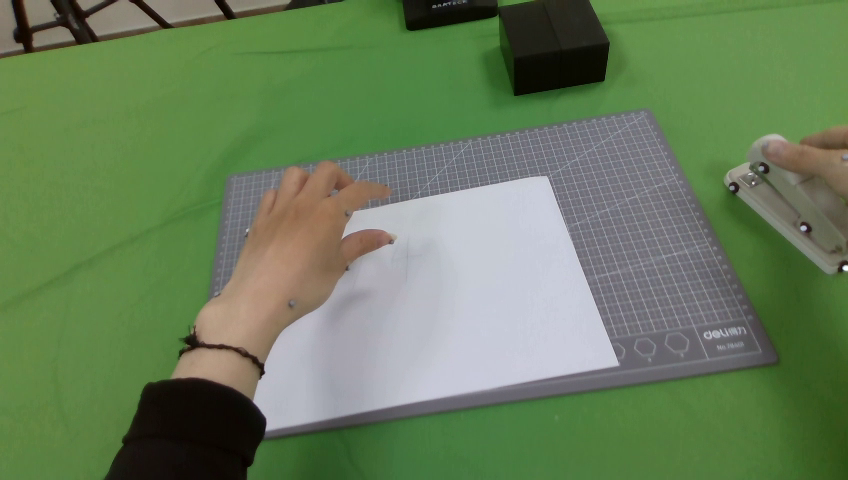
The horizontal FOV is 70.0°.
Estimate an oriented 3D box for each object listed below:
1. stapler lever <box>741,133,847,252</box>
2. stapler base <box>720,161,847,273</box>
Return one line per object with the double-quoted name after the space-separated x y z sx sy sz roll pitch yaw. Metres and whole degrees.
0.314 -0.044 0.505 0.027 0.040 0.116 -25 53 -9 "stapler lever"
0.316 -0.030 0.525 0.041 0.025 0.129 -25 54 -9 "stapler base"
